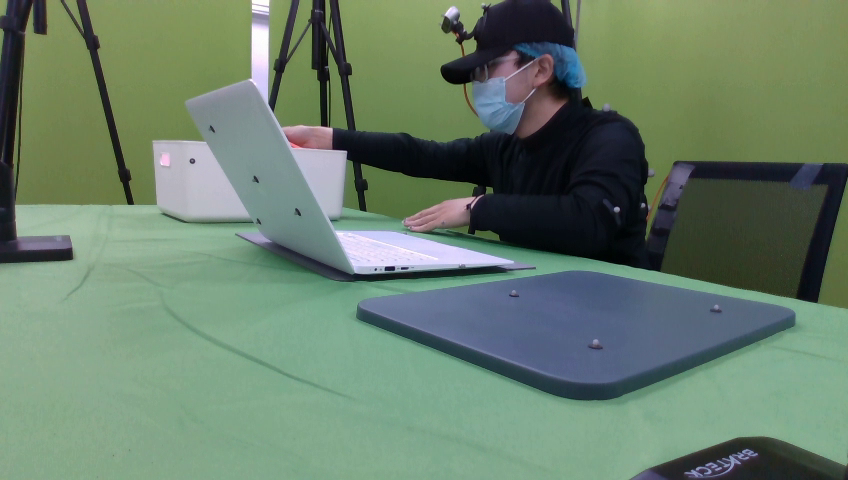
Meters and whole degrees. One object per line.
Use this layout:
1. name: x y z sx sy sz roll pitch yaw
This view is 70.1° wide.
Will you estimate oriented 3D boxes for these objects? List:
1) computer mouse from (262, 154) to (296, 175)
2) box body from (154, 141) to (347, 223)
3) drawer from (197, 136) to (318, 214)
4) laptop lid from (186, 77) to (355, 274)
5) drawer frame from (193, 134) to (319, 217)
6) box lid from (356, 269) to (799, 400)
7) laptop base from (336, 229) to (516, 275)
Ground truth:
1. computer mouse: -0.330 -0.172 1.376 0.063 0.041 0.116 4 13 -24
2. box body: -0.384 -0.132 1.346 0.366 0.160 0.253 -3 9 -36
3. drawer: -0.372 -0.149 1.347 0.212 0.073 0.193 -28 33 -25
4. laptop lid: -0.211 -0.081 0.772 0.013 0.242 0.355 -35 25 -23
5. drawer frame: -0.374 -0.149 1.347 0.214 0.083 0.200 -30 32 -25
6. box lid: 0.152 0.068 0.564 0.374 0.015 0.262 -4 10 -41
7. laptop base: -0.065 0.014 0.877 0.237 0.023 0.352 2 7 -32
